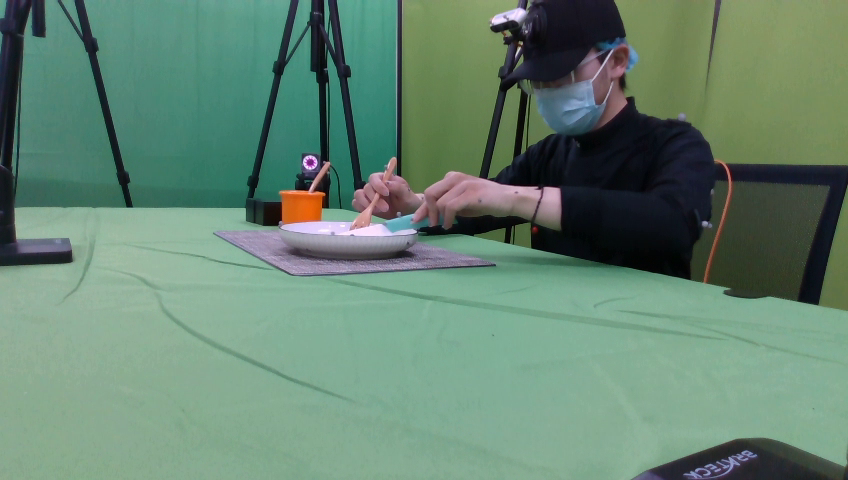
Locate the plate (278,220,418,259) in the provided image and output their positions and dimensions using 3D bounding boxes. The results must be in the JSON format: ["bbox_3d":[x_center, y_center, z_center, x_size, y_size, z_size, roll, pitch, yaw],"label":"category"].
[{"bbox_3d":[-0.114,-0.002,0.914,0.209,0.038,0.209,2,7,0],"label":"plate"}]

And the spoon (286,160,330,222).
[{"bbox_3d":[-0.233,-0.101,1.252,0.041,0.193,0.022,2,-38,24],"label":"spoon"}]

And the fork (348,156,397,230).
[{"bbox_3d":[-0.080,-0.069,0.981,0.028,0.018,0.207,12,47,11],"label":"fork"}]

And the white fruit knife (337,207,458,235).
[{"bbox_3d":[-0.052,-0.020,0.909,0.207,0.027,0.016,-12,7,4],"label":"white fruit knife"}]
